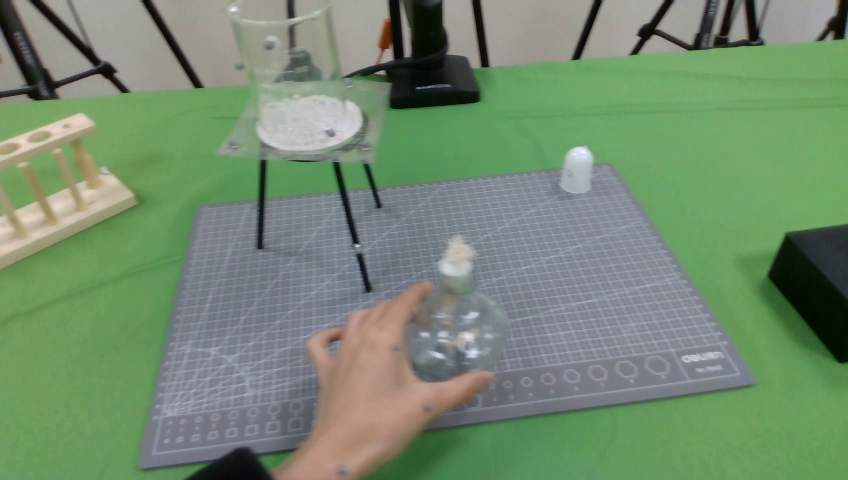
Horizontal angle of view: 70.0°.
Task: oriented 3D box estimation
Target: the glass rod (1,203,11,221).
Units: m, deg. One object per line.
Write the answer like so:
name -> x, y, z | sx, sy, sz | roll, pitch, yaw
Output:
glass rod -> -0.411, -0.103, 0.552 | 0.008, 0.201, 0.008 | 1, 34, 0

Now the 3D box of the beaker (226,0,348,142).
beaker -> -0.100, -0.133, 0.460 | 0.084, 0.101, 0.073 | 5, 43, 9

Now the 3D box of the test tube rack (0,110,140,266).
test tube rack -> -0.411, -0.030, 0.569 | 0.242, 0.086, 0.066 | -34, 50, -31

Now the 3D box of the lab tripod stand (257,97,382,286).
lab tripod stand -> -0.089, -0.046, 0.534 | 0.148, 0.133, 0.147 | -2, 43, 2

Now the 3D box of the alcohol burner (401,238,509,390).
alcohol burner -> 0.022, 0.048, 0.423 | 0.078, 0.120, 0.077 | -1, 38, 1

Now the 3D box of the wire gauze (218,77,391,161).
wire gauze -> -0.093, -0.102, 0.498 | 0.125, 0.011, 0.120 | 0, 41, 7

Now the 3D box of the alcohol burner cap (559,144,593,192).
alcohol burner cap -> 0.160, -0.078, 0.630 | 0.034, 0.048, 0.033 | -1, 41, 1
